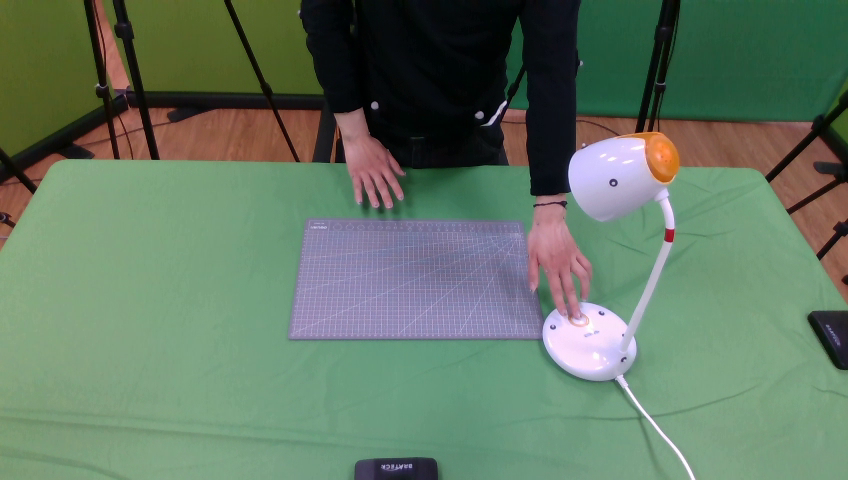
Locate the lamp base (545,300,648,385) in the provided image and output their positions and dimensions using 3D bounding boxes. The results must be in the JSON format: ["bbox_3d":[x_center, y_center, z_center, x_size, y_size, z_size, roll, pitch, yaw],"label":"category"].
[{"bbox_3d":[0.299,0.125,0.983,0.161,0.181,0.178,-23,55,-23],"label":"lamp base"}]

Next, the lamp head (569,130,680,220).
[{"bbox_3d":[0.272,-0.089,0.798,0.113,0.122,0.112,7,78,-33],"label":"lamp head"}]
